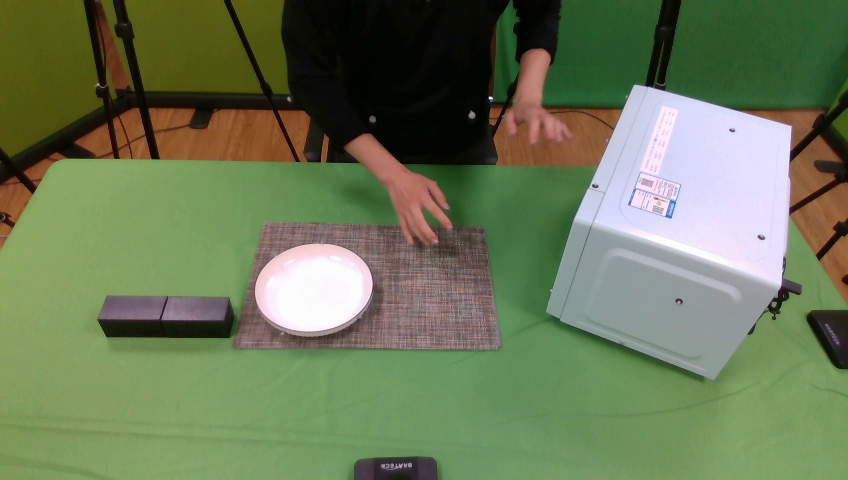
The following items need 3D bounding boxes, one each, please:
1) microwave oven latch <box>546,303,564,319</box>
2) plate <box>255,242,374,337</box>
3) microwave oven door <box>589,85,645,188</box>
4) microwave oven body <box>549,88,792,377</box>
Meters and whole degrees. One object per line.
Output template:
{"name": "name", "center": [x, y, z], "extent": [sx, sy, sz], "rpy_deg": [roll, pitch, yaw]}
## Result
{"name": "microwave oven latch", "center": [0.242, 0.102, 1.081], "extent": [0.030, 0.029, 0.079], "rpy_deg": [22, 48, 17]}
{"name": "plate", "center": [-0.192, 0.090, 1.079], "extent": [0.208, 0.039, 0.206], "rpy_deg": [2, 46, -2]}
{"name": "microwave oven door", "center": [0.342, -0.107, 1.149], "extent": [0.039, 0.245, 0.354], "rpy_deg": [20, 48, 15]}
{"name": "microwave oven body", "center": [0.456, -0.028, 1.088], "extent": [0.325, 0.261, 0.440], "rpy_deg": [20, 47, 16]}
